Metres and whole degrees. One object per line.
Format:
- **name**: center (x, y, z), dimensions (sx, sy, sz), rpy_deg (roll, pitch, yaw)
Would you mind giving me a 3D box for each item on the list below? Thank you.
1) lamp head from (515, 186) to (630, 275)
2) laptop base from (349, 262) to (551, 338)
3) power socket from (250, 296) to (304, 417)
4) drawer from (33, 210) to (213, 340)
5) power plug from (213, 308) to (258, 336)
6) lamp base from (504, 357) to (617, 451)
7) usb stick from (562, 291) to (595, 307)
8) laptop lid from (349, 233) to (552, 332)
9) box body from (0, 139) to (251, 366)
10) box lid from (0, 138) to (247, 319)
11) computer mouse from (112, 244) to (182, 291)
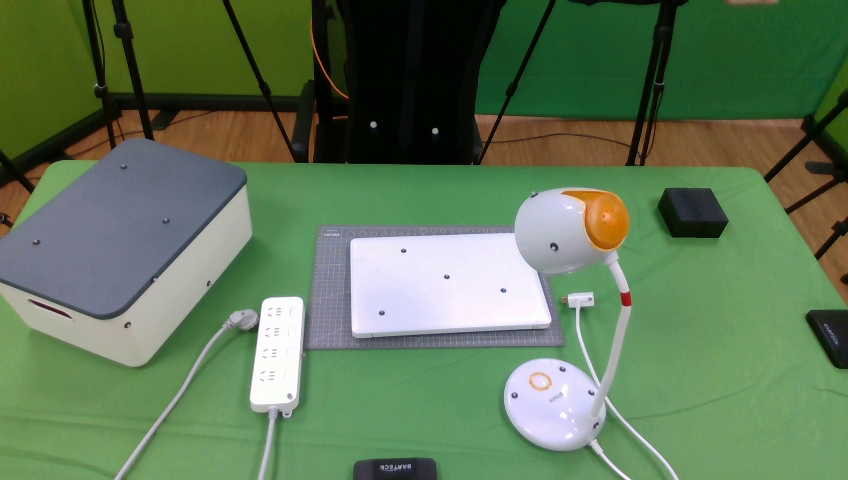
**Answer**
- **lamp head**: center (0.188, -0.013, 0.728), dimensions (0.112, 0.112, 0.122), rpy_deg (-25, 9, -25)
- **laptop base**: center (0.039, 0.080, 1.126), dimensions (0.355, 0.023, 0.234), rpy_deg (-2, 43, -6)
- **power socket**: center (-0.239, 0.182, 0.997), dimensions (0.072, 0.033, 0.225), rpy_deg (-2, 47, -5)
- **drawer**: center (-0.509, 0.055, 1.046), dimensions (0.194, 0.073, 0.211), rpy_deg (15, 43, 11)
- **power plug**: center (-0.317, 0.141, 1.025), dimensions (0.072, 0.053, 0.035), rpy_deg (-27, 56, -7)
- **lamp base**: center (0.220, 0.211, 0.903), dimensions (0.160, 0.181, 0.178), rpy_deg (-32, 59, -30)
- **usb stick**: center (0.280, 0.109, 1.104), dimensions (0.059, 0.021, 0.027), rpy_deg (-6, 12, 23)
- **laptop lid**: center (0.040, 0.070, 1.119), dimensions (0.357, 0.013, 0.240), rpy_deg (-1, 44, -5)
- **box body**: center (-0.496, 0.013, 1.048), dimensions (0.254, 0.161, 0.362), rpy_deg (17, 47, 12)
- **box lid**: center (-0.494, -0.037, 0.994), dimensions (0.263, 0.015, 0.370), rpy_deg (17, 46, 12)
- **computer mouse**: center (-0.492, 0.046, 1.078), dimensions (0.117, 0.041, 0.062), rpy_deg (24, 41, 13)
